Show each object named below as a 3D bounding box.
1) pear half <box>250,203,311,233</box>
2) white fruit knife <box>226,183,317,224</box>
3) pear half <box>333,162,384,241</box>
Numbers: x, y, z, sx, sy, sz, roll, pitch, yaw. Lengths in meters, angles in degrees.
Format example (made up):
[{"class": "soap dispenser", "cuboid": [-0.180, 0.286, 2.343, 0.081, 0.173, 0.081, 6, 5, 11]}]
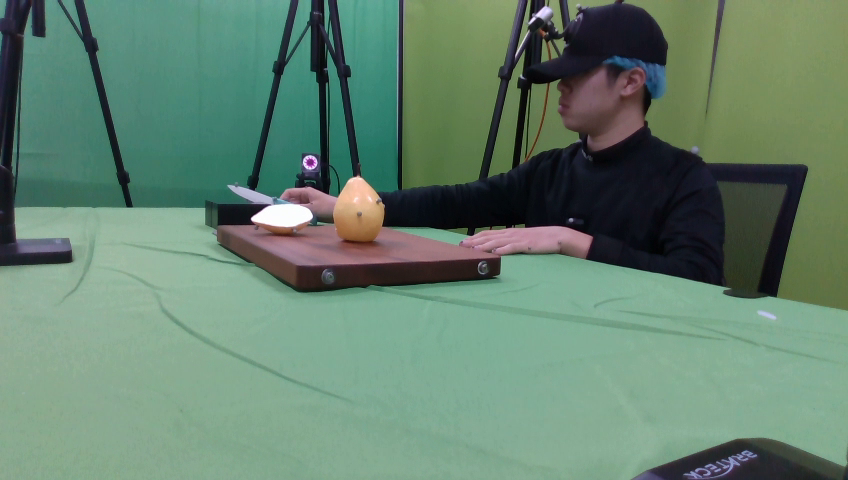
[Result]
[{"class": "pear half", "cuboid": [-0.212, -0.027, 0.899, 0.088, 0.031, 0.070, -16, 31, -25]}, {"class": "white fruit knife", "cuboid": [-0.307, -0.077, 1.240, 0.208, 0.027, 0.016, 21, -10, -38]}, {"class": "pear half", "cuboid": [-0.085, -0.053, 0.842, 0.056, 0.110, 0.076, 7, 12, 28]}]
